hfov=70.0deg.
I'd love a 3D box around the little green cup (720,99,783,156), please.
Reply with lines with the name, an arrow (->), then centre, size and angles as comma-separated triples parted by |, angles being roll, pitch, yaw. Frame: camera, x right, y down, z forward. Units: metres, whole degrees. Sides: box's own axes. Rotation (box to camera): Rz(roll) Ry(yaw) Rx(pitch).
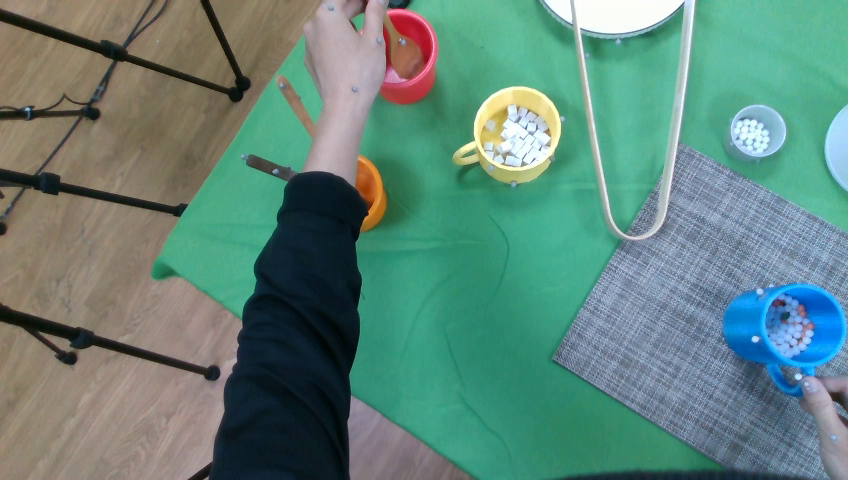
little green cup -> 0.379, -0.128, 0.707 | 0.061, 0.039, 0.061 | -1, 84, 6

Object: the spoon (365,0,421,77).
spoon -> -0.045, -0.236, 0.643 | 0.021, 0.195, 0.041 | 41, 89, 25

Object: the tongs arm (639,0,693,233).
tongs arm -> 0.289, -0.198, 0.708 | 0.028, 0.028, 0.387 | 7, 90, -1

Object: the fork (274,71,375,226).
fork -> -0.112, -0.100, 0.696 | 0.028, 0.018, 0.209 | -30, 124, -1

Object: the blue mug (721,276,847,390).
blue mug -> 0.379, 0.100, 0.641 | 0.082, 0.106, 0.116 | -9, 82, 5

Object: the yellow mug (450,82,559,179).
yellow mug -> 0.093, -0.123, 0.721 | 0.131, 0.064, 0.099 | -21, 82, 4

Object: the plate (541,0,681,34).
plate -> 0.231, -0.350, 0.749 | 0.207, 0.039, 0.207 | -1, 83, 6

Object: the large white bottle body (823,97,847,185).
large white bottle body -> 0.520, -0.125, 0.618 | 0.130, 0.185, 0.130 | -1, 82, 6

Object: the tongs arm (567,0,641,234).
tongs arm -> 0.205, -0.195, 0.713 | 0.051, 0.026, 0.384 | -7, 89, 2

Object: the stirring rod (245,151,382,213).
stirring rod -> -0.123, -0.065, 0.700 | 0.178, 0.006, 0.014 | 20, 79, -34
